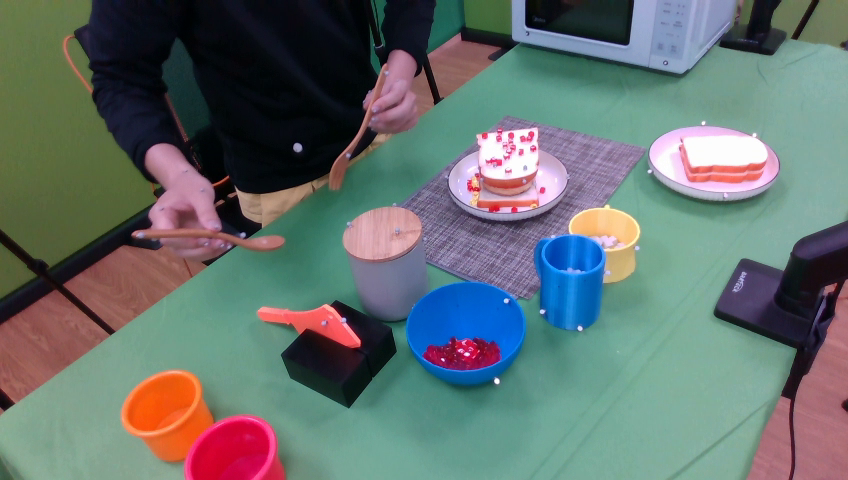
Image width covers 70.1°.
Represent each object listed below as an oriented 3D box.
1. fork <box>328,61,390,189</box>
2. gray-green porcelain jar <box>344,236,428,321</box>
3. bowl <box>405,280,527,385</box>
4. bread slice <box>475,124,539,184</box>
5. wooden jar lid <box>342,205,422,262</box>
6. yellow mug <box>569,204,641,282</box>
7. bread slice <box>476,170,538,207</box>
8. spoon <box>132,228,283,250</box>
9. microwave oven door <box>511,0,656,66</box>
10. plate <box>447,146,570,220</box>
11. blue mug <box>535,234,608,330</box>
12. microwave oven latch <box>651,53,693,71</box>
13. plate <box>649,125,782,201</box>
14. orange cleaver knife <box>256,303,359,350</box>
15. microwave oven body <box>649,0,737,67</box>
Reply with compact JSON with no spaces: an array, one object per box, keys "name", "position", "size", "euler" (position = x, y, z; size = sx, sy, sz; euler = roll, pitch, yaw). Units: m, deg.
[{"name":"fork","position":[-0.096,-0.163,0.880],"size":[0.018,0.207,0.028],"euler":[45,28,27]},{"name":"gray-green porcelain jar","position":[-0.049,0.042,0.849],"size":[0.106,0.127,0.105],"euler":[-4,41,4]},{"name":"bowl","position":[0.055,0.131,0.767],"size":[0.151,0.077,0.150],"euler":[-4,40,4]},{"name":"bread slice","position":[0.143,-0.144,1.009],"size":[0.107,0.018,0.133],"euler":[-8,46,8]},{"name":"wooden jar lid","position":[-0.055,-0.006,0.808],"size":[0.108,0.021,0.108],"euler":[-6,41,6]},{"name":"yellow mug","position":[0.268,-0.005,0.904],"size":[0.099,0.064,0.130],"euler":[7,41,15]},{"name":"bread slice","position":[0.144,-0.104,1.058],"size":[0.105,0.019,0.131],"euler":[0,44,5]},{"name":"spoon","position":[-0.239,-0.004,0.688],"size":[0.041,0.021,0.195],"euler":[19,5,33]},{"name":"microwave oven door","position":[0.351,-0.539,1.348],"size":[0.353,0.245,0.039],"euler":[24,50,31]},{"name":"plate","position":[0.145,-0.098,1.046],"size":[0.209,0.038,0.208],"euler":[-4,41,4]},{"name":"blue mug","position":[0.191,0.048,0.824],"size":[0.082,0.106,0.115],"euler":[-26,44,-21]},{"name":"microwave oven latch","position":[0.532,-0.387,1.301],"size":[0.078,0.029,0.030],"euler":[27,52,34]},{"name":"plate","position":[0.493,-0.128,1.036],"size":[0.207,0.039,0.206],"euler":[-4,41,4]},{"name":"orange cleaver knife","position":[-0.161,0.115,0.813],"size":[0.210,0.077,0.012],"euler":[-4,30,47]},{"name":"microwave oven body","position":[0.475,-0.602,1.411],"size":[0.438,0.261,0.327],"euler":[23,50,32]}]
